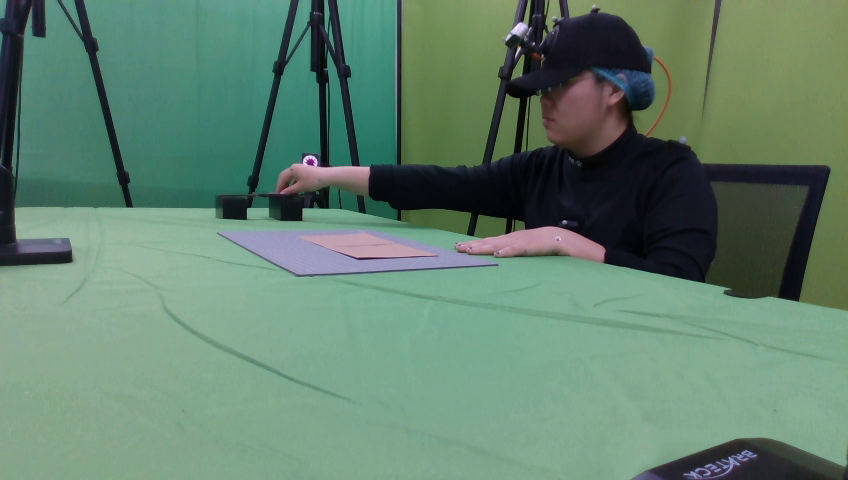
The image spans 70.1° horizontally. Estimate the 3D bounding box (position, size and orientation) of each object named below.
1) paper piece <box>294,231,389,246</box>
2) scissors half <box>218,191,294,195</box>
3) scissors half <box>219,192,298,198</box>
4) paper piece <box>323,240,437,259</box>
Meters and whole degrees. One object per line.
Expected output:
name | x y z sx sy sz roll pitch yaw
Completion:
paper piece | -0.138 -0.002 1.045 0.136 0.004 0.134 -3 10 -30
scissors half | -0.381 -0.105 1.381 0.176 0.013 0.040 -4 14 -37
scissors half | -0.371 -0.101 1.364 0.176 0.013 0.040 -1 7 -22
paper piece | -0.070 0.015 0.932 0.137 0.008 0.137 -5 11 -30
